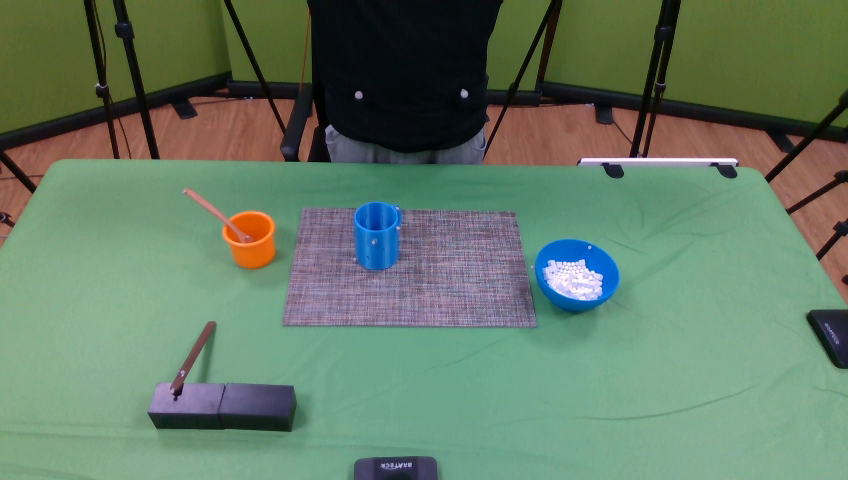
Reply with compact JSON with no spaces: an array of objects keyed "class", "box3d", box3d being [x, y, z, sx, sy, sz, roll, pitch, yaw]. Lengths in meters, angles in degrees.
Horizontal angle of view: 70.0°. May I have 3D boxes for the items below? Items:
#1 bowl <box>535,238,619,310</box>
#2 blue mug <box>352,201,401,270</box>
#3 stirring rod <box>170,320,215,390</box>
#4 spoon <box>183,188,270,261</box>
[{"class":"bowl","box3d":[0.270,0.076,1.107,0.151,0.077,0.150,2,46,-2]},{"class":"blue mug","box3d":[-0.082,-0.017,1.144,0.082,0.106,0.116,30,51,22]},{"class":"stirring rod","box3d":[-0.368,0.180,0.969,0.014,0.006,0.175,0,27,0]},{"class":"spoon","box3d":[-0.360,-0.029,1.110,0.021,0.194,0.041,-21,31,41]}]
